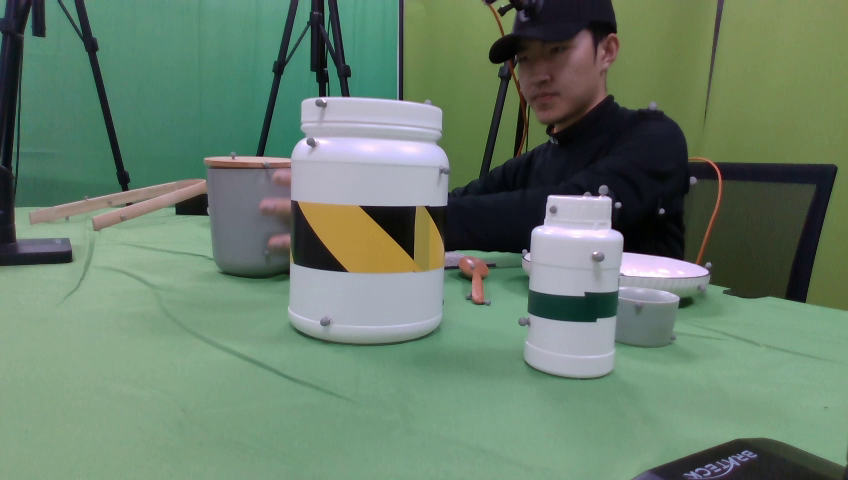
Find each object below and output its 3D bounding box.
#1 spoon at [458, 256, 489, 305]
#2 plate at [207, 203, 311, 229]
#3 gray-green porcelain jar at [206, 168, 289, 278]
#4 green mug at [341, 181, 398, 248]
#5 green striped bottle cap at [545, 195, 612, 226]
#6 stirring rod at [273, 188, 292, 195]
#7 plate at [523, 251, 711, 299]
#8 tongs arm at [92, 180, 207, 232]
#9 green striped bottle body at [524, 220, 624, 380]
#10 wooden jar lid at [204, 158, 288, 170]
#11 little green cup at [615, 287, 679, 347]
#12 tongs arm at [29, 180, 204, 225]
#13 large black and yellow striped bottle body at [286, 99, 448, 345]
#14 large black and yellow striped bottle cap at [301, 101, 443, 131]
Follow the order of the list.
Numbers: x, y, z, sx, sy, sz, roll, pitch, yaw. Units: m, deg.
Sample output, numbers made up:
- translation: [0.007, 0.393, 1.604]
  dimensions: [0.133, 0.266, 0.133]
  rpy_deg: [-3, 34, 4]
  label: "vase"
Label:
- translation: [0.059, 0.044, 0.696]
  dimensions: [0.041, 0.021, 0.194]
  rpy_deg: [22, 7, 0]
  label: "spoon"
- translation: [-0.342, -0.050, 1.259]
  dimensions: [0.208, 0.039, 0.207]
  rpy_deg: [3, 7, 0]
  label: "plate"
- translation: [-0.201, -0.024, 0.724]
  dimensions: [0.106, 0.126, 0.106]
  rpy_deg: [-1, 9, 1]
  label: "gray-green porcelain jar"
- translation: [-0.090, -0.044, 0.996]
  dimensions: [0.093, 0.105, 0.125]
  rpy_deg: [1, 7, -10]
  label: "green mug"
- translation: [0.106, -0.020, 0.414]
  dimensions: [0.044, 0.020, 0.044]
  rpy_deg: [2, 4, 0]
  label: "green striped bottle cap"
- translation: [-0.354, -0.122, 1.519]
  dimensions: [0.006, 0.014, 0.176]
  rpy_deg: [2, 6, 1]
  label: "stirring rod"
- translation: [0.219, 0.041, 0.706]
  dimensions: [0.209, 0.038, 0.209]
  rpy_deg: [2, 7, 0]
  label: "plate"
- translation: [-0.534, -0.076, 1.221]
  dimensions: [0.028, 0.028, 0.388]
  rpy_deg: [-2, 15, 12]
  label: "tongs arm"
- translation: [0.104, 0.031, 0.422]
  dimensions: [0.063, 0.119, 0.063]
  rpy_deg: [2, 8, 0]
  label: "green striped bottle body"
- translation: [-0.202, -0.085, 0.714]
  dimensions: [0.108, 0.020, 0.108]
  rpy_deg: [3, 11, 0]
  label: "wooden jar lid"
- translation: [0.180, 0.064, 0.506]
  dimensions: [0.061, 0.038, 0.061]
  rpy_deg: [1, 8, 0]
  label: "little green cup"
- translation: [-0.609, -0.083, 1.245]
  dimensions: [0.050, 0.026, 0.386]
  rpy_deg: [5, 16, 23]
  label: "tongs arm"
- translation: [-0.047, -0.018, 0.501]
  dimensions: [0.131, 0.184, 0.130]
  rpy_deg: [2, 7, 0]
  label: "large black and yellow striped bottle body"
- translation: [-0.042, -0.100, 0.491]
  dimensions: [0.115, 0.019, 0.115]
  rpy_deg: [1, 8, 0]
  label: "large black and yellow striped bottle cap"
